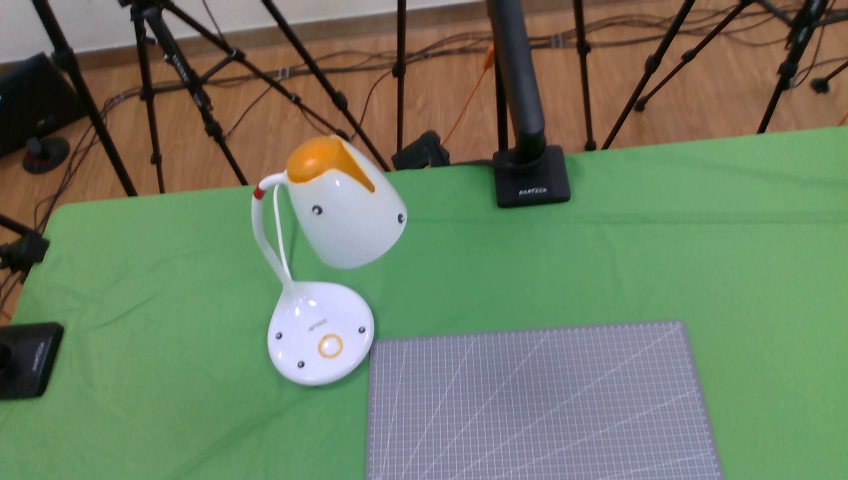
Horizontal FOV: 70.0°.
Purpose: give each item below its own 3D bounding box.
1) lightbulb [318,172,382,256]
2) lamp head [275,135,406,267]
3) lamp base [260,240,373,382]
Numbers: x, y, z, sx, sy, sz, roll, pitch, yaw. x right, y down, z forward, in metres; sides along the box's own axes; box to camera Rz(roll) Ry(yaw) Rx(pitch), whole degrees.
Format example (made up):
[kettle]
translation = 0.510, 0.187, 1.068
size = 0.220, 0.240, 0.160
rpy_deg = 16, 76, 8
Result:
[lightbulb]
translation = -0.083, -0.029, 0.647
size = 0.059, 0.109, 0.059
rpy_deg = -12, 43, 12
[lamp head]
translation = -0.095, -0.049, 0.636
size = 0.112, 0.124, 0.111
rpy_deg = -19, 43, 19
[lamp base]
translation = -0.173, 0.087, 0.846
size = 0.160, 0.182, 0.177
rpy_deg = -40, 58, -16
